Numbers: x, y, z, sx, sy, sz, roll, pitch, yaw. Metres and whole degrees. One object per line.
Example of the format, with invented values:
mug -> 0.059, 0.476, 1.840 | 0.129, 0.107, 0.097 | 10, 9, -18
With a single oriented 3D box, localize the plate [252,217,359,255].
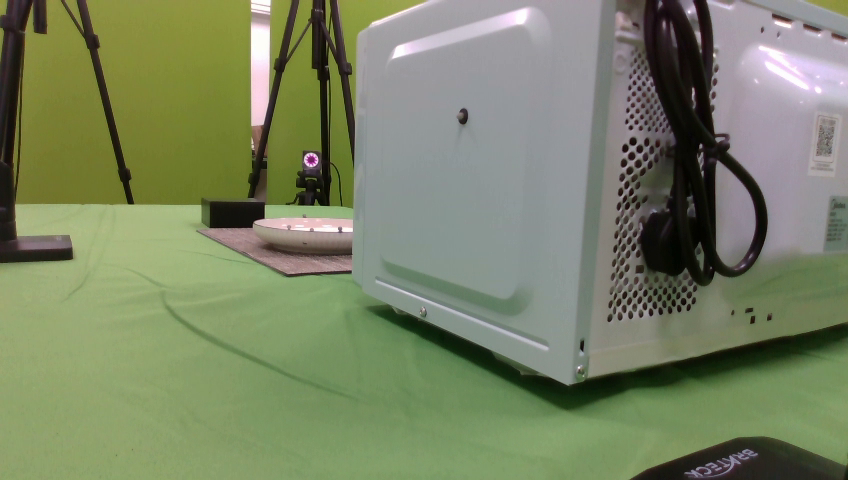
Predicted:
plate -> -0.155, -0.007, 0.924 | 0.209, 0.038, 0.209 | 3, 7, 0

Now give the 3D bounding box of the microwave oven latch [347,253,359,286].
microwave oven latch -> -0.034, 0.028, 0.581 | 0.079, 0.029, 0.030 | -1, 7, -31

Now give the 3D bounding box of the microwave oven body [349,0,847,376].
microwave oven body -> 0.199, -0.053, 0.540 | 0.444, 0.260, 0.324 | -1, 8, -32

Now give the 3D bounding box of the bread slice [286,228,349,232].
bread slice -> -0.153, -0.005, 0.921 | 0.132, 0.019, 0.104 | 0, 7, -30

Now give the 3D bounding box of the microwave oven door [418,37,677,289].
microwave oven door -> 0.159, -0.079, 0.684 | 0.358, 0.243, 0.039 | -2, 9, -32
